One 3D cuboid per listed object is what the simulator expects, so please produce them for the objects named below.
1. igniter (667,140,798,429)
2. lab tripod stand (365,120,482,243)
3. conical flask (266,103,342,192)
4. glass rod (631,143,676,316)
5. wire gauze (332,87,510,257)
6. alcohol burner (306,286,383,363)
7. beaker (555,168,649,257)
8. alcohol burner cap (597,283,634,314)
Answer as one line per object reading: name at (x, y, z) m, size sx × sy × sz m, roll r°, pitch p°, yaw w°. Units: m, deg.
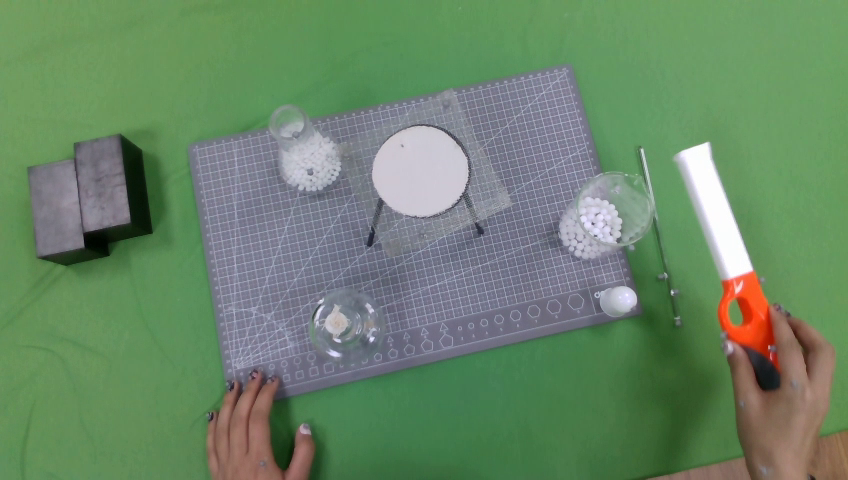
igniter at (0.291, 0.041, 0.570) m, size 0.057 × 0.025 × 0.276 m, roll -19°, pitch 88°, yaw -5°
lab tripod stand at (-0.006, -0.051, 0.611) m, size 0.148 × 0.132 × 0.148 m, roll 0°, pitch 81°, yaw 0°
conical flask at (-0.130, -0.100, 0.625) m, size 0.075 × 0.122 × 0.075 m, roll 0°, pitch 79°, yaw 1°
glass rod at (0.254, -0.014, 0.671) m, size 0.008 × 0.008 × 0.199 m, roll -9°, pitch 80°, yaw -2°
wire gauze at (-0.004, -0.062, 0.545) m, size 0.125 × 0.011 × 0.121 m, roll -25°, pitch 81°, yaw -4°
alcohol burner at (-0.081, 0.082, 0.597) m, size 0.078 × 0.119 × 0.077 m, roll 0°, pitch 78°, yaw 2°
beaker at (0.180, -0.025, 0.624) m, size 0.074 × 0.100 × 0.084 m, roll 39°, pitch 81°, yaw 7°
alcohol burner cap at (0.204, 0.060, 0.638) m, size 0.034 × 0.048 × 0.033 m, roll 0°, pitch 79°, yaw 1°
